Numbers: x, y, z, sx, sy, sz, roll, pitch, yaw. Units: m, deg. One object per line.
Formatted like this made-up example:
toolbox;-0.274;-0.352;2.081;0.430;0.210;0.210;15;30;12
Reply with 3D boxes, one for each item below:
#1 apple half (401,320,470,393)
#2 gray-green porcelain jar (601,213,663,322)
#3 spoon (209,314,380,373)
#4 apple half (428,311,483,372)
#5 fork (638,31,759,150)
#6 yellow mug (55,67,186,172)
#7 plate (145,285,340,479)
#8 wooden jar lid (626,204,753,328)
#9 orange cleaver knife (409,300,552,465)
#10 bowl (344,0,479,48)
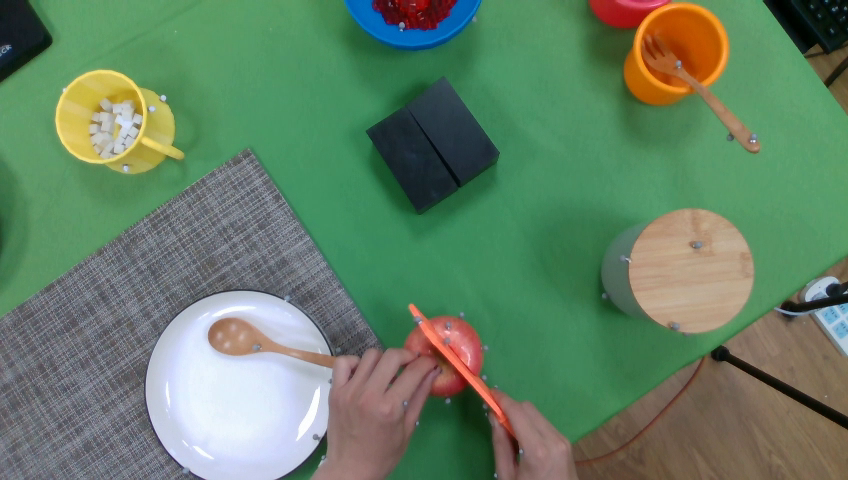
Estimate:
apple half;0.006;0.126;0.632;0.053;0.074;0.081;-39;90;5
gray-green porcelain jar;0.236;0.026;0.595;0.106;0.126;0.105;0;88;4
spoon;-0.139;0.115;0.640;0.193;0.022;0.041;11;76;16
apple half;0.039;0.098;0.631;0.033;0.081;0.081;-42;86;-1
fork;0.262;-0.150;0.587;0.028;0.019;0.205;-18;44;2
yellow mug;-0.320;-0.122;0.660;0.131;0.064;0.100;27;89;3
plate;-0.192;0.152;0.655;0.209;0.038;0.209;0;89;3
wooden jar lid;0.231;0.023;0.533;0.108;0.021;0.108;0;90;2
orange cleaver knife;0.056;0.142;0.605;0.012;0.077;0.212;-40;104;1
bowl;-0.010;-0.268;0.641;0.151;0.077;0.151;0;89;3
